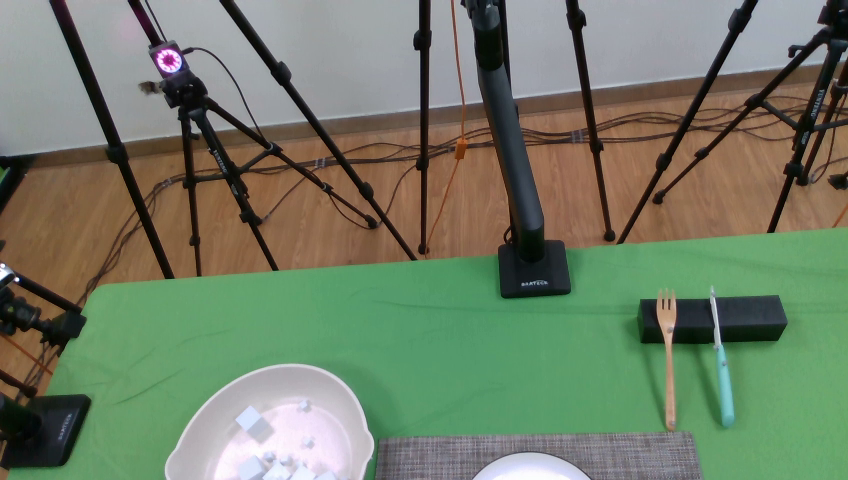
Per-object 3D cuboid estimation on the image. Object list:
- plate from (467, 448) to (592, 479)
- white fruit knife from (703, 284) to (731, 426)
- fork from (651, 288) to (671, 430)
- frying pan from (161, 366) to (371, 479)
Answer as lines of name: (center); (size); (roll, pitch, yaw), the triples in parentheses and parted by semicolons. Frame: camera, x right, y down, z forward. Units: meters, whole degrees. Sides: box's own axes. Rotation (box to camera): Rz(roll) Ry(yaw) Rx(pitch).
plate: (0.138, 0.378, 0.783); (0.207, 0.039, 0.205); (-6, 50, 7)
white fruit knife: (0.422, 0.162, 0.882); (0.016, 0.027, 0.206); (-1, 66, 9)
fork: (0.352, 0.171, 0.890); (0.028, 0.019, 0.206); (3, 70, 7)
frying pan: (-0.221, 0.396, 0.802); (0.306, 0.104, 0.483); (-7, 41, 7)
